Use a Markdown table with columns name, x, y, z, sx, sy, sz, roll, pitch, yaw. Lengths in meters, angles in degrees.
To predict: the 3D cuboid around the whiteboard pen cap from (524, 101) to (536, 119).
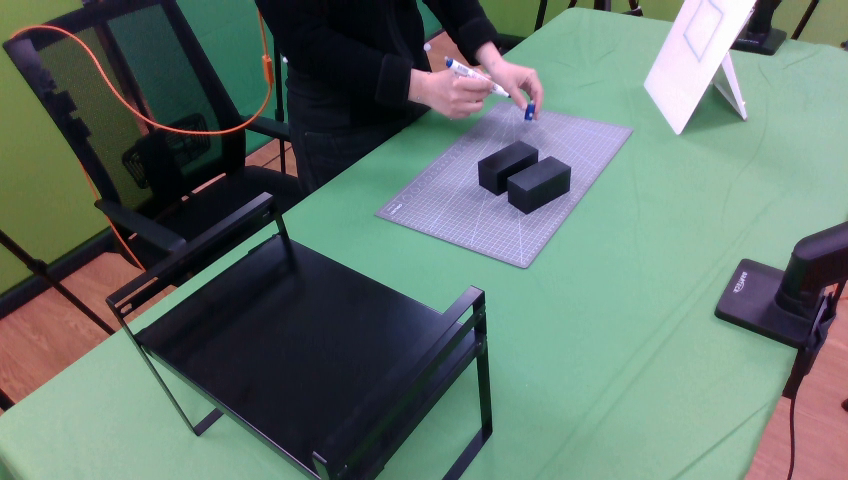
| name | x | y | z | sx | sy | sz | roll | pitch | yaw |
| --- | --- | --- | --- | --- | --- | --- | --- | --- | --- |
| whiteboard pen cap | 0.204 | -0.249 | 1.163 | 0.018 | 0.033 | 0.018 | 11 | 16 | -3 |

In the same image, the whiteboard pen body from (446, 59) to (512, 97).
| name | x | y | z | sx | sy | sz | roll | pitch | yaw |
| --- | --- | --- | --- | --- | --- | --- | --- | --- | --- |
| whiteboard pen body | 0.098 | -0.277 | 1.043 | 0.142 | 0.017 | 0.017 | 19 | 31 | -30 |

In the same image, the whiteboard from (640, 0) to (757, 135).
| name | x | y | z | sx | sy | sz | roll | pitch | yaw |
| --- | --- | --- | --- | --- | --- | --- | --- | --- | --- |
| whiteboard | 0.576 | -0.366 | 1.147 | 0.144 | 0.305 | 0.216 | 10 | 39 | -10 |
